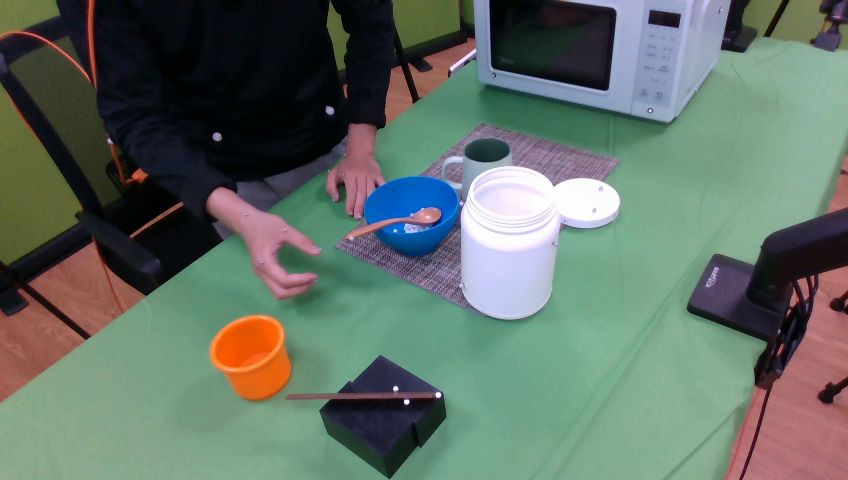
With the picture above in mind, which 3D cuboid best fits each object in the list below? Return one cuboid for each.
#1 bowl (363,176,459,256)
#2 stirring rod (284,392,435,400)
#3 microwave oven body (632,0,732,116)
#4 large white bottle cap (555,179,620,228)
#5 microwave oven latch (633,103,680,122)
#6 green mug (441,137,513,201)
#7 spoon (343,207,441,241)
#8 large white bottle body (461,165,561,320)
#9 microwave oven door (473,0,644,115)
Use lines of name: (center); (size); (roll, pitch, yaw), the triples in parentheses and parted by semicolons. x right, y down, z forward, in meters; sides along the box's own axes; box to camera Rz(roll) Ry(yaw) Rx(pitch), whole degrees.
bowl: (-0.016, -0.028, 0.955); (0.151, 0.077, 0.150); (-4, 40, 4)
stirring rod: (-0.075, 0.180, 0.698); (0.176, 0.006, 0.014); (-2, 6, 6)
microwave oven body: (0.377, -0.462, 1.267); (0.438, 0.261, 0.327); (21, 48, 30)
large white bottle cap: (0.265, -0.062, 1.001); (0.115, 0.018, 0.114); (-3, 41, 3)
microwave oven latch: (0.444, -0.249, 1.157); (0.078, 0.029, 0.030); (21, 49, 30)
green mug: (0.091, -0.108, 1.012); (0.125, 0.105, 0.092); (2, 42, 11)
spoon: (-0.046, -0.025, 0.911); (0.041, 0.021, 0.195); (27, 27, 37)
large white bottle body: (0.115, 0.004, 0.816); (0.130, 0.185, 0.130); (-2, 43, 2)
microwave oven door: (0.257, -0.396, 1.199); (0.353, 0.245, 0.039); (21, 48, 29)
